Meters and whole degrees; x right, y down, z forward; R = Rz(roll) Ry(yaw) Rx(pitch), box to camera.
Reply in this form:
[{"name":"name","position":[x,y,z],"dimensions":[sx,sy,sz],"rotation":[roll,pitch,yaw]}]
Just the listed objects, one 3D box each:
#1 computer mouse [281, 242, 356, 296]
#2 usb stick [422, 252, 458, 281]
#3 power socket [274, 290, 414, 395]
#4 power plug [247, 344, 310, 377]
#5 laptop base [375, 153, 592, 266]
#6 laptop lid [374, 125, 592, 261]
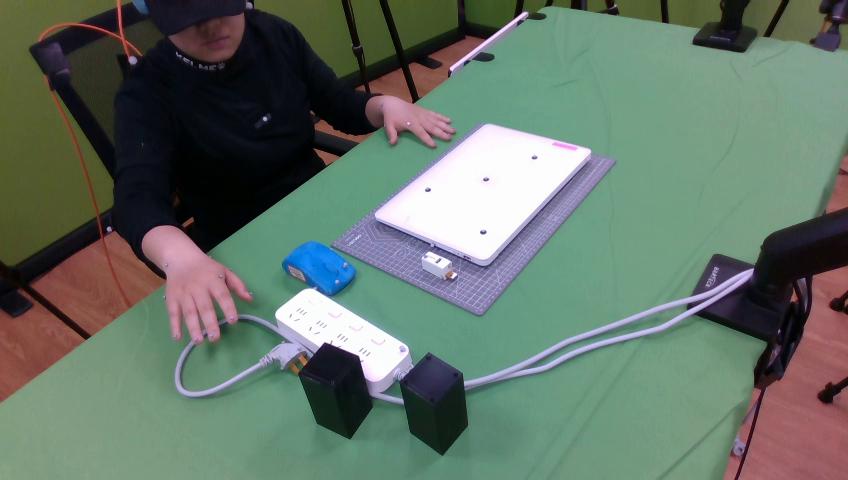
[{"name":"computer mouse","position":[-0.164,0.041,0.934],"dimensions":[0.116,0.041,0.063],"rotation":[27,48,28]},{"name":"usb stick","position":[0.025,0.042,0.908],"dimensions":[0.058,0.027,0.021],"rotation":[27,48,31]},{"name":"power socket","position":[-0.114,0.134,0.820],"dimensions":[0.225,0.033,0.072],"rotation":[25,49,33]},{"name":"power plug","position":[-0.187,0.169,0.798],"dimensions":[0.072,0.035,0.052],"rotation":[-41,70,-5]},{"name":"laptop base","position":[0.112,-0.091,1.063],"dimensions":[0.233,0.023,0.355],"rotation":[21,47,34]},{"name":"laptop lid","position":[0.109,-0.101,1.057],"dimensions":[0.239,0.013,0.358],"rotation":[23,48,34]}]
